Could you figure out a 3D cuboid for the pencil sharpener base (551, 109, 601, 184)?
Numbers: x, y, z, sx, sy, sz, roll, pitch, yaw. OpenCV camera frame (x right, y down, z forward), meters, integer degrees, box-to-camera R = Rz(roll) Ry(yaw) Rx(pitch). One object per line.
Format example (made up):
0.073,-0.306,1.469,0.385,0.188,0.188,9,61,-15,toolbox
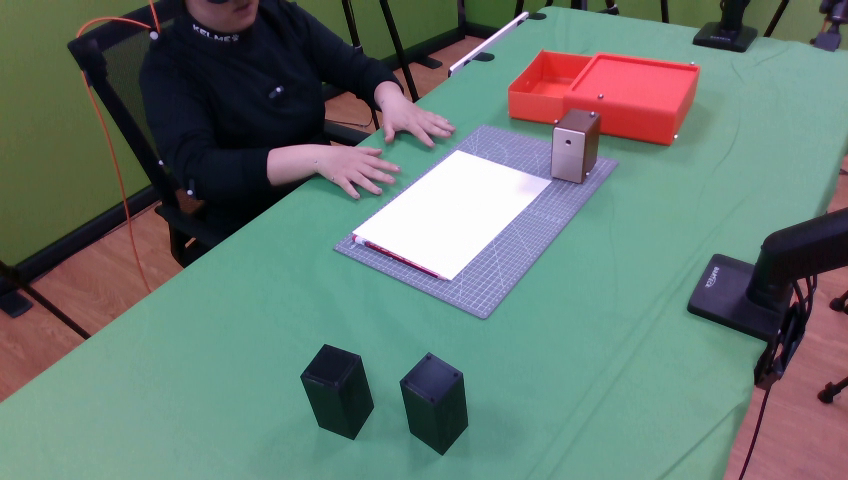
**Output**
0.265,-0.164,1.053,0.061,0.107,0.077,17,46,27,pencil sharpener base

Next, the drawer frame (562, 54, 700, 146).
0.406,-0.282,1.195,0.212,0.083,0.202,17,45,25,drawer frame

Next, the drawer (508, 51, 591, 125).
0.304,-0.309,1.246,0.210,0.073,0.195,16,45,25,drawer

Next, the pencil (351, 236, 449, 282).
-0.041,0.029,0.946,0.192,0.012,0.012,23,49,29,pencil

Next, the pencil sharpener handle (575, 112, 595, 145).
0.290,-0.203,1.077,0.036,0.068,0.031,20,47,25,pencil sharpener handle
